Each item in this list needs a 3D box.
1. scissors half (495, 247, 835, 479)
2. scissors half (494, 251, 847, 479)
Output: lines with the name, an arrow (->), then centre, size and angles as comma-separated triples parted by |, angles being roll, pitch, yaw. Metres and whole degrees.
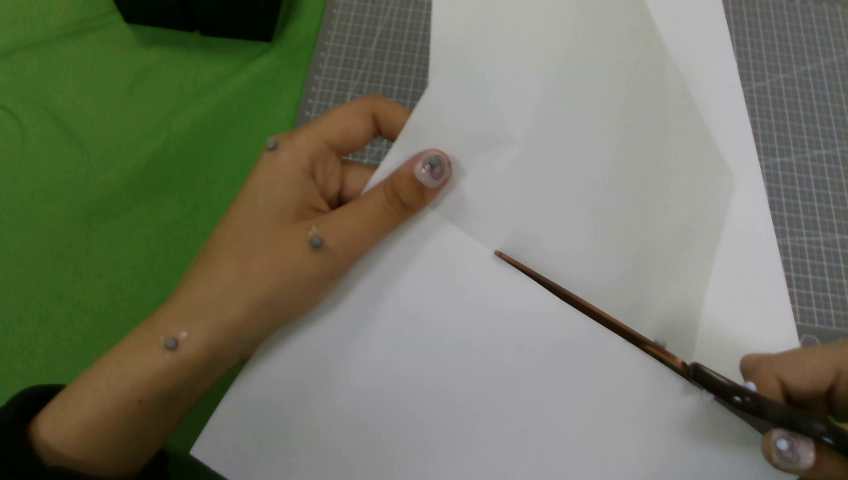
scissors half -> 0.103, 0.051, 0.254 | 0.175, 0.040, 0.013 | 33, 88, -4
scissors half -> 0.101, 0.048, 0.233 | 0.174, 0.040, 0.013 | 31, 83, 19
